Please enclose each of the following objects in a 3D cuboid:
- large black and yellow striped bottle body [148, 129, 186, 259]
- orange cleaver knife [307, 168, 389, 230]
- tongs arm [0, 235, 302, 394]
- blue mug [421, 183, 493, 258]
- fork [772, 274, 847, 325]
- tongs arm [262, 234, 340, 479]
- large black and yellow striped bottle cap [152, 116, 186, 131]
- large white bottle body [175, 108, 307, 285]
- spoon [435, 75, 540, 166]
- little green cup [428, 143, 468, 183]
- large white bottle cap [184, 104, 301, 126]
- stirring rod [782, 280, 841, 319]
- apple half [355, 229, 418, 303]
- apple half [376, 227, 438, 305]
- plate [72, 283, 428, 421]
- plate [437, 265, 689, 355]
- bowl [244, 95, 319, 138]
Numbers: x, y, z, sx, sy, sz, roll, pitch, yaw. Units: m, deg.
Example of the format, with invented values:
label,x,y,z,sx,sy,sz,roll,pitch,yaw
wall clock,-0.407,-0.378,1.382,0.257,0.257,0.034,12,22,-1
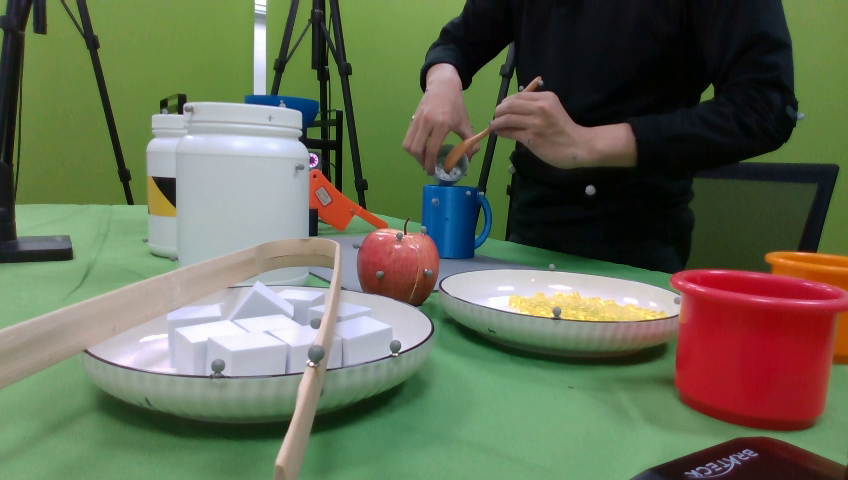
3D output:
label,x,y,z,sx,sy,sz,roll,pitch,yaw
large black and yellow striped bottle body,-0.310,-0.073,0.838,0.131,0.184,0.130,2,8,0
orange cleaver knife,-0.158,-0.060,1.166,0.212,0.077,0.012,34,-12,-32
tongs arm,-0.157,0.038,0.351,0.028,0.028,0.388,-3,9,12
blue mug,0.052,-0.032,0.912,0.117,0.106,0.082,-1,8,-24
fork,0.332,0.018,0.443,0.028,0.018,0.207,-1,-36,-15
tongs arm,-0.074,0.039,0.349,0.051,0.026,0.384,-2,10,-3
large black and yellow striped bottle cap,-0.309,-0.155,0.826,0.115,0.019,0.115,3,6,0
large white bottle body,-0.188,-0.042,0.630,0.131,0.184,0.130,2,8,0
spoon,0.087,-0.169,0.861,0.193,0.022,0.041,-34,18,21
little green cup,0.035,-0.115,0.937,0.062,0.061,0.038,1,-13,-8
large white bottle cap,-0.184,-0.126,0.618,0.115,0.018,0.115,2,8,0
stirring rod,0.344,0.019,0.461,0.014,0.006,0.176,-13,-27,-30
apple half,-0.044,0.027,0.564,0.081,0.081,0.033,9,5,42
apple half,-0.017,0.026,0.593,0.080,0.074,0.053,4,2,43
plate,-0.102,0.066,0.381,0.208,0.039,0.207,2,7,0
plate,0.114,0.057,0.517,0.209,0.038,0.209,3,7,0
bowl,-0.293,-0.251,1.249,0.151,0.077,0.151,2,7,0
